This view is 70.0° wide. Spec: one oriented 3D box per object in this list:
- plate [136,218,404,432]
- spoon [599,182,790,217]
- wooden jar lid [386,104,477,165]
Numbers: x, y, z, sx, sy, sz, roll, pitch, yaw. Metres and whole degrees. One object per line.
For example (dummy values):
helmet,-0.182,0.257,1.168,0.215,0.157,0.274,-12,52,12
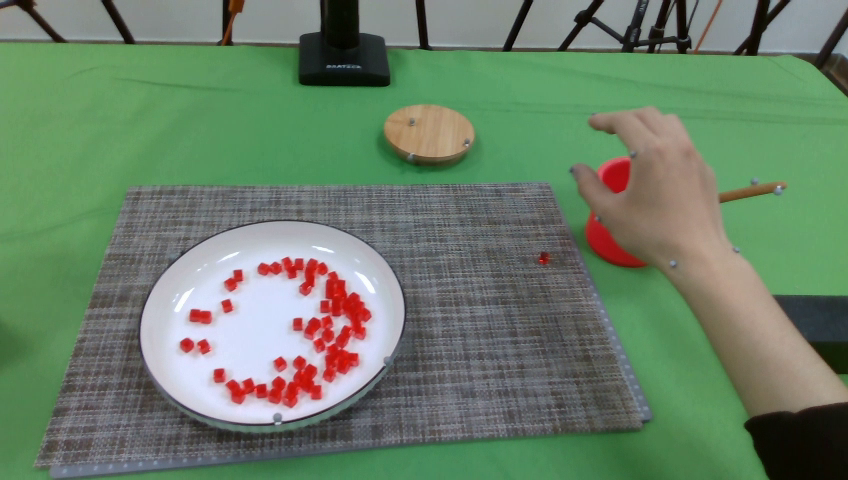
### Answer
plate,-0.121,0.066,0.500,0.208,0.039,0.205,4,45,-4
spoon,0.244,-0.037,0.570,0.042,0.022,0.192,-24,13,-33
wooden jar lid,0.009,-0.125,0.723,0.108,0.021,0.107,4,46,-4
